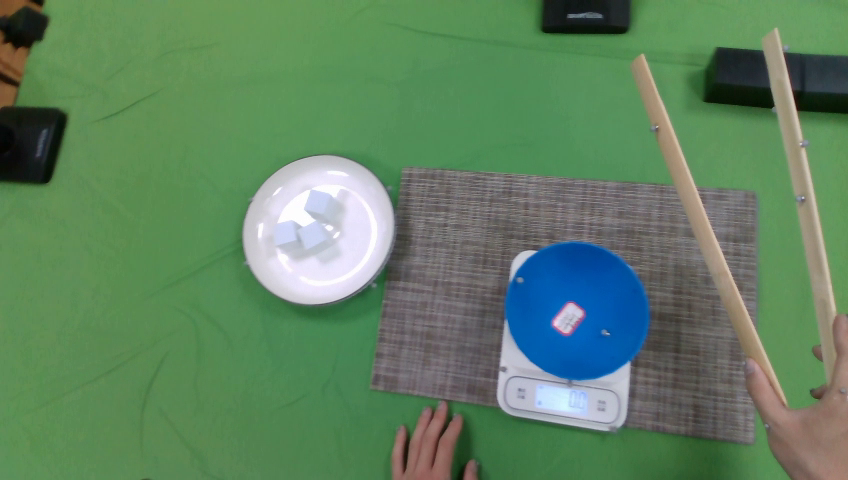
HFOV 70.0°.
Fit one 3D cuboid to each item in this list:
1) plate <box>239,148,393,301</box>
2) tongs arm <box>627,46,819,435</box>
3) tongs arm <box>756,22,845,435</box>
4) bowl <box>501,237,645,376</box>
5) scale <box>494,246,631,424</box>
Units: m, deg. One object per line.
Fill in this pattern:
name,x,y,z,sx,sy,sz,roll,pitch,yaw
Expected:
plate,-0.141,-0.020,0.806,0.207,0.039,0.206,-2,76,8
tongs arm,0.269,0.001,0.559,0.028,0.028,0.387,-21,87,-14
tongs arm,0.342,-0.016,0.571,0.051,0.026,0.384,-9,85,-10
bowl,0.162,0.078,0.679,0.151,0.077,0.150,-2,76,7
scale,0.167,0.110,0.726,0.148,0.032,0.200,6,77,10
